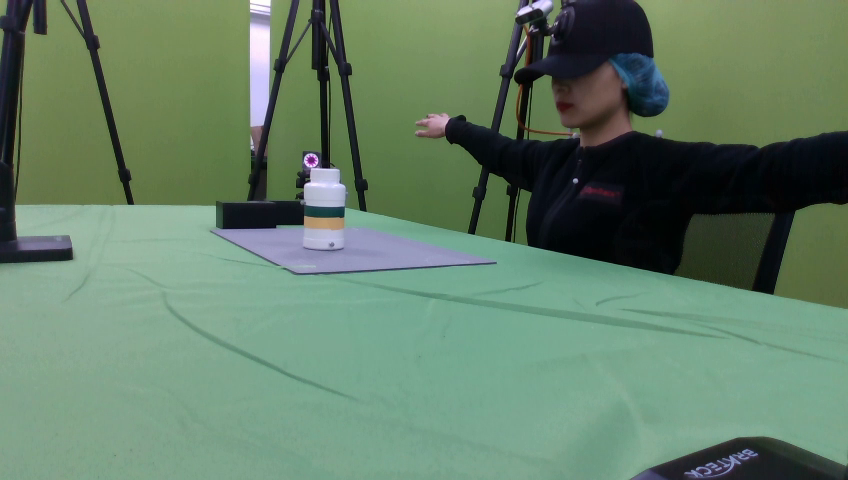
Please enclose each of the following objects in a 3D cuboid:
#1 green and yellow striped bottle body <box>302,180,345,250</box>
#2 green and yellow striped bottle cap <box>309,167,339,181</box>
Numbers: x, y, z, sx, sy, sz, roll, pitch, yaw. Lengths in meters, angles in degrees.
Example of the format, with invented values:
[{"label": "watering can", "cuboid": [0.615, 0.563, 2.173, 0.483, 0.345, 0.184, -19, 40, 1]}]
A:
[{"label": "green and yellow striped bottle body", "cuboid": [-0.152, -0.047, 0.918, 0.063, 0.119, 0.063, 3, 8, 0]}, {"label": "green and yellow striped bottle cap", "cuboid": [-0.150, -0.099, 0.912, 0.045, 0.020, 0.045, 4, 8, 0]}]
